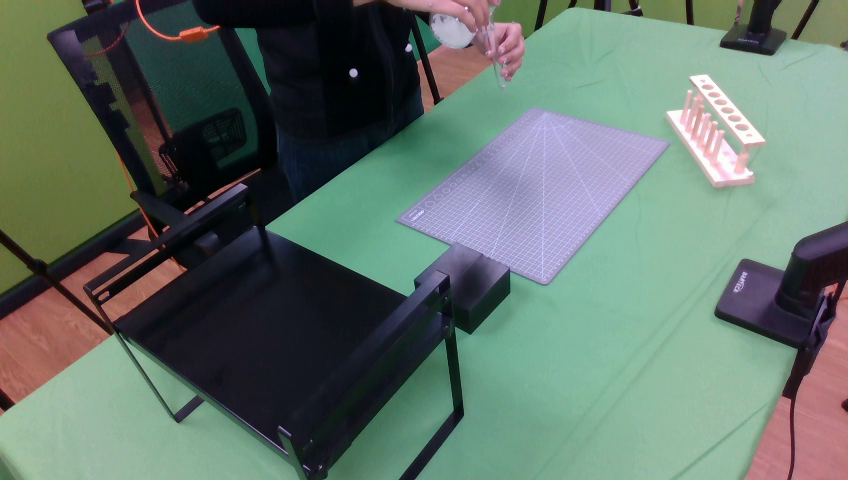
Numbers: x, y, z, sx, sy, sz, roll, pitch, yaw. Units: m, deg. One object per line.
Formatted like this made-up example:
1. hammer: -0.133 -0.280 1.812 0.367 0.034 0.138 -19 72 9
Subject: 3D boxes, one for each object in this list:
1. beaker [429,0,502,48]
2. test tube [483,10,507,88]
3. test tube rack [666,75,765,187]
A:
1. beaker: 0.060 -0.335 0.879 0.073 0.084 0.100 19 63 34
2. test tube: 0.117 -0.306 0.984 0.017 0.151 0.017 -9 54 13
3. test tube rack: 0.512 -0.201 1.082 0.067 0.085 0.241 -6 41 2
